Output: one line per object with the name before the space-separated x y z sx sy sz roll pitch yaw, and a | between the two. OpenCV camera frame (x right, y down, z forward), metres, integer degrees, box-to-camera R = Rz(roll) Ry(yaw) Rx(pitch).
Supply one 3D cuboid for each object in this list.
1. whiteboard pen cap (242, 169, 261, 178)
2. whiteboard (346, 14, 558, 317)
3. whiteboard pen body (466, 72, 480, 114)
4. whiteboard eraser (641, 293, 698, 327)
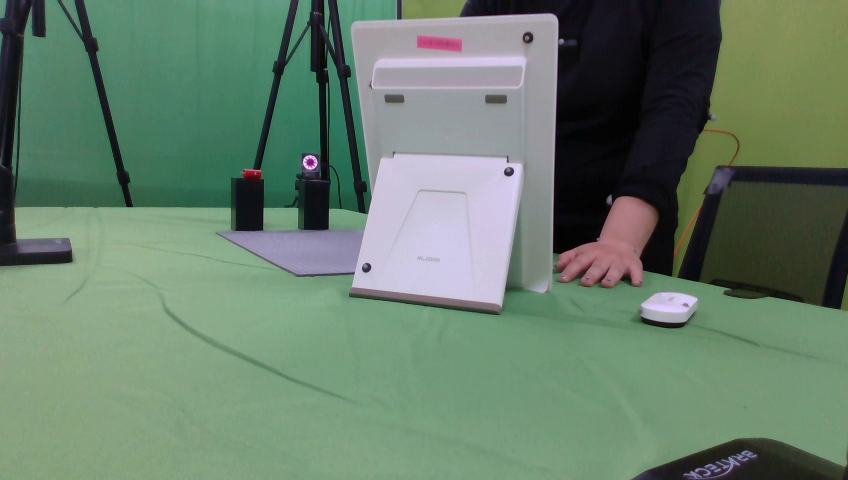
whiteboard pen cap | -0.326 -0.125 1.144 0.032 0.017 0.017 0 8 -36
whiteboard | 0.012 -0.056 0.608 0.216 0.305 0.144 6 27 20
whiteboard pen body | 0.061 -0.185 0.760 0.017 0.017 0.140 3 32 1
whiteboard eraser | 0.240 0.067 0.590 0.041 0.019 0.102 5 7 32
